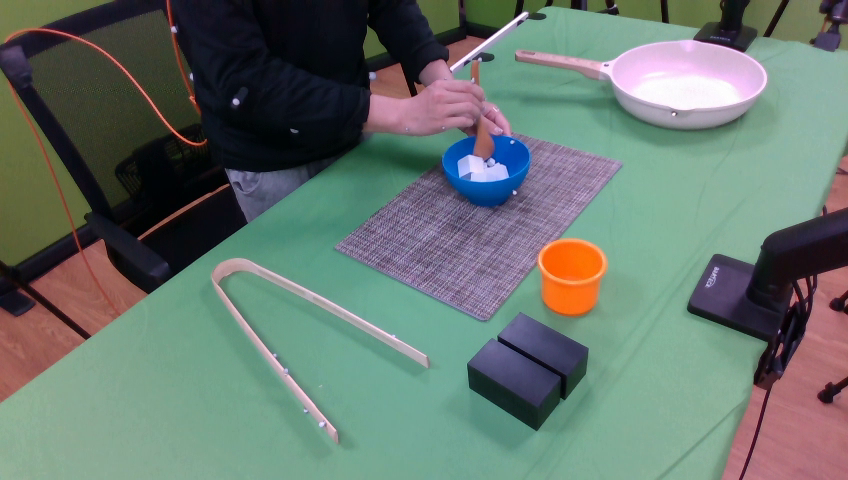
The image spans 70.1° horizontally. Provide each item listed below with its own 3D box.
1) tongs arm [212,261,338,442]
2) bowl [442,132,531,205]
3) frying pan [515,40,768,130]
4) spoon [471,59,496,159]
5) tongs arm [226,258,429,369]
[{"bbox_3d":[-0.208,0.136,0.830,0.051,0.026,0.381,-31,45,-28],"label":"tongs arm"},{"bbox_3d":[0.108,-0.112,1.033,0.151,0.077,0.150,-4,40,4],"label":"bowl"},{"bbox_3d":[0.423,-0.338,1.236,0.486,0.103,0.307,16,45,13],"label":"frying pan"},{"bbox_3d":[0.089,-0.203,0.967,0.042,0.195,0.021,-23,45,-8],"label":"spoon"},{"bbox_3d":[-0.150,0.098,0.873,0.384,0.028,0.028,22,50,30],"label":"tongs arm"}]
